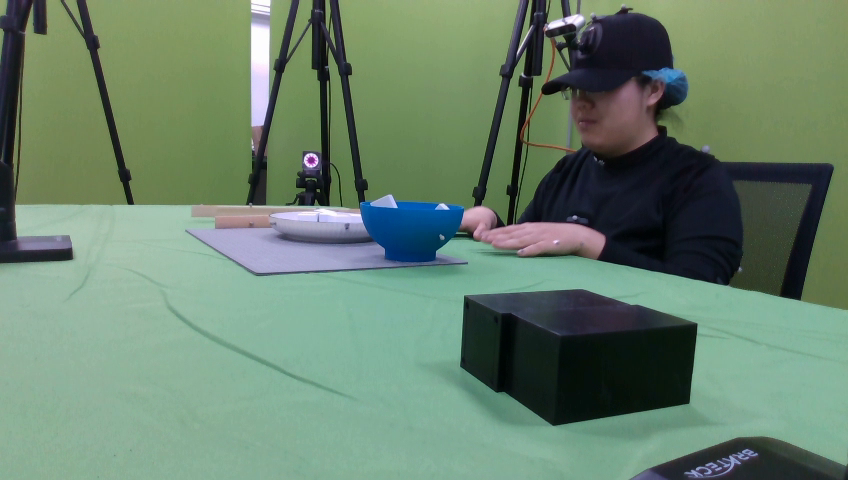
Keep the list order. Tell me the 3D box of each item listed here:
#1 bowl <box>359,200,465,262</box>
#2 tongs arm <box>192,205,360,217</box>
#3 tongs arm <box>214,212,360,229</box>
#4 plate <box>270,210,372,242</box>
[{"bbox_3d":[-0.018,-0.013,0.859,0.151,0.077,0.151,2,7,0],"label":"bowl"},{"bbox_3d":[-0.289,-0.057,1.299,0.387,0.026,0.050,-1,9,-32],"label":"tongs arm"},{"bbox_3d":[-0.243,-0.043,1.236,0.390,0.028,0.028,-4,7,-44],"label":"tongs arm"},{"bbox_3d":[-0.161,-0.024,1.054,0.208,0.039,0.207,2,7,0],"label":"plate"}]
